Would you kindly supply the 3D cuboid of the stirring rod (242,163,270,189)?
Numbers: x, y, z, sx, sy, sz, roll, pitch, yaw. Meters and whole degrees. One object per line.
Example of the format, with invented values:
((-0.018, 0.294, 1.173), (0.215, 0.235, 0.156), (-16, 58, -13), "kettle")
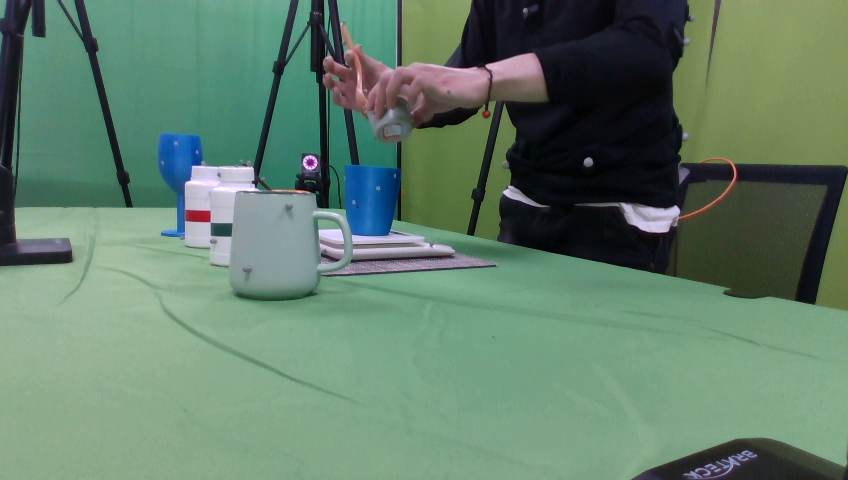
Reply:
((-0.298, -0.090, 1.198), (0.014, 0.006, 0.177), (10, -32, 45), "stirring rod")

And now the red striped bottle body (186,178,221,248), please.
((-0.331, -0.050, 0.927), (0.063, 0.119, 0.063), (2, 6, 0), "red striped bottle body")

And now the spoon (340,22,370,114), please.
((-0.103, -0.263, 0.921), (0.022, 0.193, 0.041), (-11, -29, -6), "spoon")

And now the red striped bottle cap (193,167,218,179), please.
((-0.329, -0.103, 0.921), (0.044, 0.017, 0.044), (-1, 9, 0), "red striped bottle cap")

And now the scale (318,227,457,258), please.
((-0.066, 0.001, 0.906), (0.202, 0.031, 0.148), (-2, 8, -31), "scale")

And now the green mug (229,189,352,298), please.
((-0.135, 0.002, 0.618), (0.125, 0.105, 0.092), (2, 7, 4), "green mug")

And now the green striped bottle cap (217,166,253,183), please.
((-0.242, -0.085, 0.777), (0.044, 0.020, 0.044), (2, 9, 0), "green striped bottle cap")

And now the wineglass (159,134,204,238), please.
((-0.415, -0.093, 1.040), (0.074, 0.172, 0.073), (2, 7, 0), "wineglass")

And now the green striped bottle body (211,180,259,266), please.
((-0.243, -0.029, 0.784), (0.063, 0.119, 0.063), (2, 7, 0), "green striped bottle body")

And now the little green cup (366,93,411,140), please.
((-0.047, -0.167, 0.828), (0.061, 0.038, 0.061), (-13, -25, -6), "little green cup")

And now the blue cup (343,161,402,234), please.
((-0.078, -0.062, 0.884), (0.093, 0.100, 0.092), (4, 6, 0), "blue cup")
